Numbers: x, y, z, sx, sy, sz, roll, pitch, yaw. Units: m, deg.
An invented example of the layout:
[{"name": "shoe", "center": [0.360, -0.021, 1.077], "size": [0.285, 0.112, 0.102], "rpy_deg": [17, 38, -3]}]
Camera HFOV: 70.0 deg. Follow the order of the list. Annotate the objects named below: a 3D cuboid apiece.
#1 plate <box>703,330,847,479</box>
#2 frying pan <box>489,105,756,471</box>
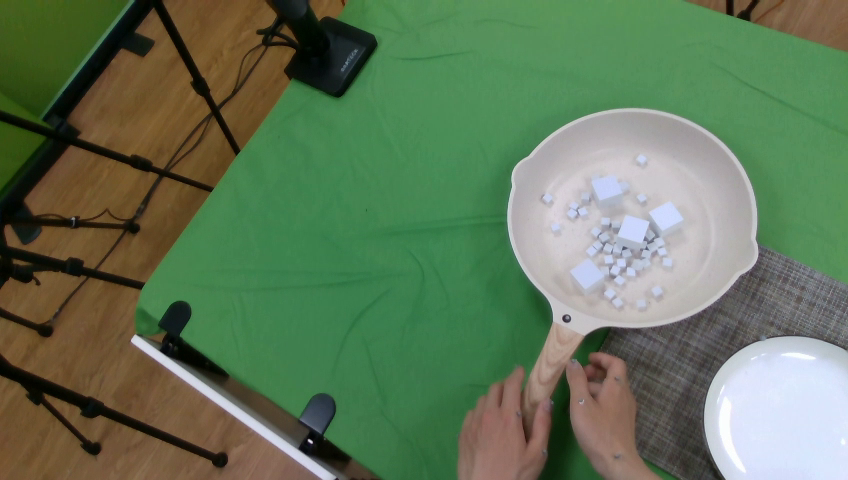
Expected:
[{"name": "plate", "center": [0.417, 0.204, 0.667], "size": [0.207, 0.039, 0.206], "rpy_deg": [-4, 70, 11]}, {"name": "frying pan", "center": [0.200, 0.052, 0.736], "size": [0.305, 0.104, 0.486], "rpy_deg": [25, 69, 22]}]
